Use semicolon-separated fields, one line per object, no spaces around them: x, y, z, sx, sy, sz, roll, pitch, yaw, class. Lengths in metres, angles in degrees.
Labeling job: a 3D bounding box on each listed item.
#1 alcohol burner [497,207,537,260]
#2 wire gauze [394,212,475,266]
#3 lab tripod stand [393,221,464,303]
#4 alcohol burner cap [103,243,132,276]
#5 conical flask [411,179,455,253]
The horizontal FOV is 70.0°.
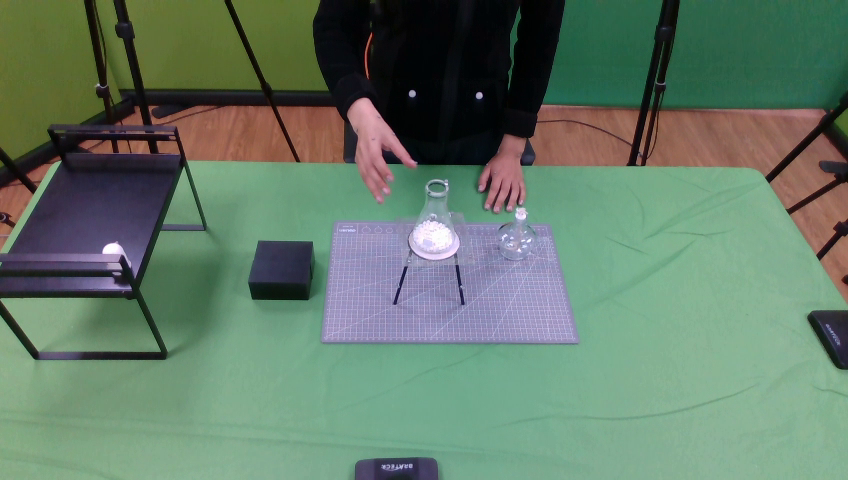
0.180;-0.019;1.163;0.078;0.120;0.077;1;48;-1;alcohol burner
0.015;-0.001;1.029;0.125;0.011;0.120;-5;45;-5;wire gauze
0.010;0.045;1.074;0.148;0.132;0.147;2;48;-2;lab tripod stand
-0.446;0.025;0.875;0.034;0.048;0.033;3;46;-3;alcohol burner cap
0.018;-0.042;0.985;0.075;0.122;0.075;2;47;-1;conical flask
